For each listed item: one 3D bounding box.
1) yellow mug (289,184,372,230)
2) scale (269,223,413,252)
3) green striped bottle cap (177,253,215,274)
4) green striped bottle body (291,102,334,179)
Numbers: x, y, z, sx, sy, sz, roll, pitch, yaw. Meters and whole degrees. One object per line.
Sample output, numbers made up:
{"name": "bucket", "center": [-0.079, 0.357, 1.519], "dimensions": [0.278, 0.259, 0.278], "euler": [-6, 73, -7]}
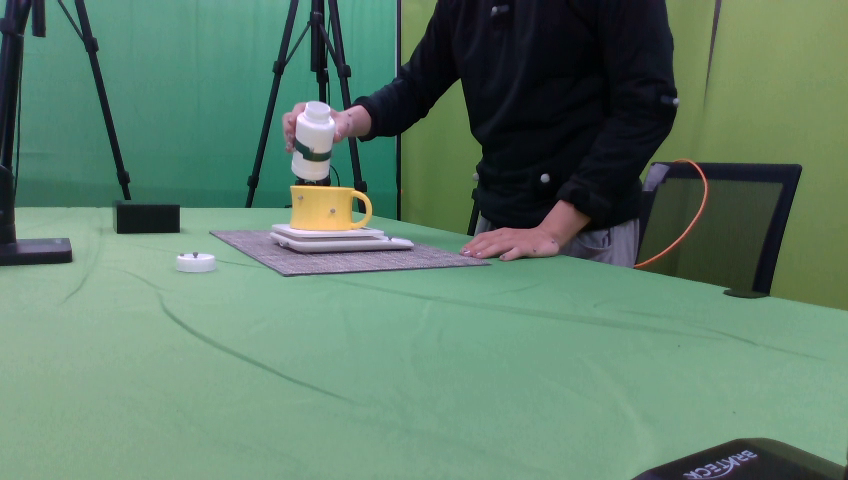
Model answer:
{"name": "yellow mug", "center": [-0.145, -0.052, 0.944], "dimensions": [0.131, 0.064, 0.100], "euler": [4, 6, 9]}
{"name": "scale", "center": [-0.132, -0.007, 0.965], "dimensions": [0.202, 0.031, 0.148], "euler": [-2, 8, -31]}
{"name": "green striped bottle cap", "center": [-0.279, 0.028, 0.741], "dimensions": [0.044, 0.020, 0.044], "euler": [5, 6, 0]}
{"name": "green striped bottle body", "center": [-0.184, -0.165, 0.998], "dimensions": [0.063, 0.119, 0.063], "euler": [11, 35, -7]}
